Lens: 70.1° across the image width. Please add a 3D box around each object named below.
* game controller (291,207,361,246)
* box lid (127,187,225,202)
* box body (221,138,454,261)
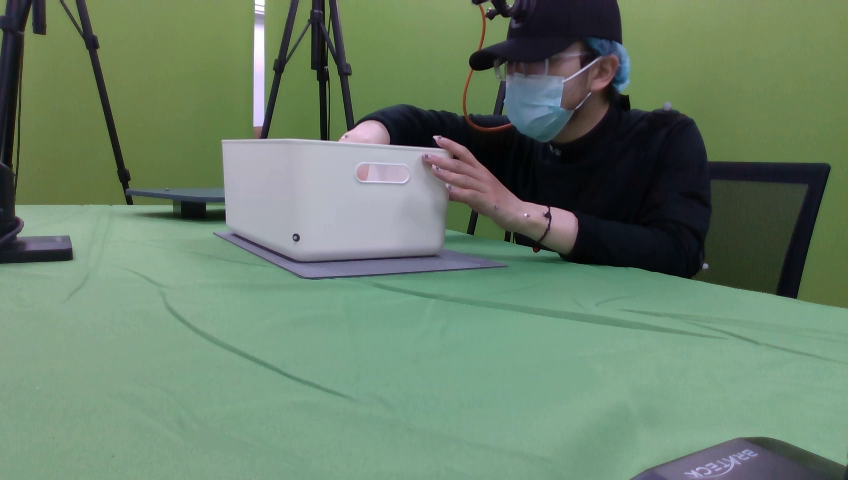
[{"bbox_3d":[-0.161,-0.024,0.966,0.097,0.051,0.154,-8,9,-14],"label":"game controller"},{"bbox_3d":[-0.449,-0.106,1.393,0.262,0.015,0.373,6,8,28],"label":"box lid"},{"bbox_3d":[-0.152,-0.074,0.963,0.255,0.160,0.362,-3,9,-33],"label":"box body"}]
